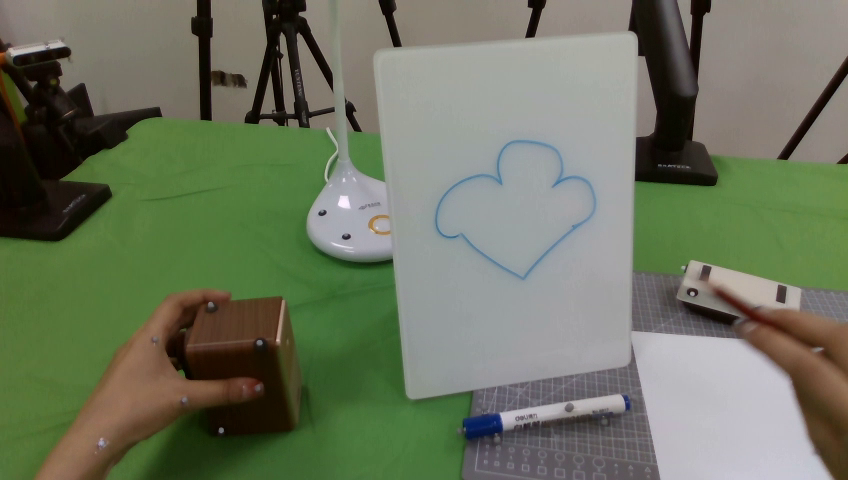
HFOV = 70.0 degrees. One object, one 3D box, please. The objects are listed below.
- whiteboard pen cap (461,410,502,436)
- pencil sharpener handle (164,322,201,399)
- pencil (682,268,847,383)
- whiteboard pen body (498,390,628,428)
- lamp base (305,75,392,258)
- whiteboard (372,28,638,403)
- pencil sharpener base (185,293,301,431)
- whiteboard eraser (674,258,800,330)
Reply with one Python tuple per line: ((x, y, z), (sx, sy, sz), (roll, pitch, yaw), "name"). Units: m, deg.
((0.049, 0.154, 0.509), (0.033, 0.018, 0.018), (-8, 36, -8), "whiteboard pen cap")
((-0.201, 0.100, 0.495), (0.031, 0.068, 0.035), (-4, 20, -4), "pencil sharpener handle")
((0.235, 0.068, 0.368), (0.194, 0.012, 0.012), (31, 38, -6), "pencil")
((0.107, 0.146, 0.517), (0.141, 0.017, 0.017), (-7, 36, -8), "whiteboard pen body")
((-0.078, -0.095, 0.728), (0.161, 0.182, 0.177), (-25, 40, -30), "lamp base")
((0.068, -0.031, 0.579), (0.217, 0.307, 0.143), (-7, 17, -8), "whiteboard")
((-0.150, 0.105, 0.511), (0.077, 0.108, 0.060), (-4, 36, -4), "pencil sharpener base")
((0.322, 0.057, 0.626), (0.112, 0.042, 0.055), (17, 40, 23), "whiteboard eraser")
